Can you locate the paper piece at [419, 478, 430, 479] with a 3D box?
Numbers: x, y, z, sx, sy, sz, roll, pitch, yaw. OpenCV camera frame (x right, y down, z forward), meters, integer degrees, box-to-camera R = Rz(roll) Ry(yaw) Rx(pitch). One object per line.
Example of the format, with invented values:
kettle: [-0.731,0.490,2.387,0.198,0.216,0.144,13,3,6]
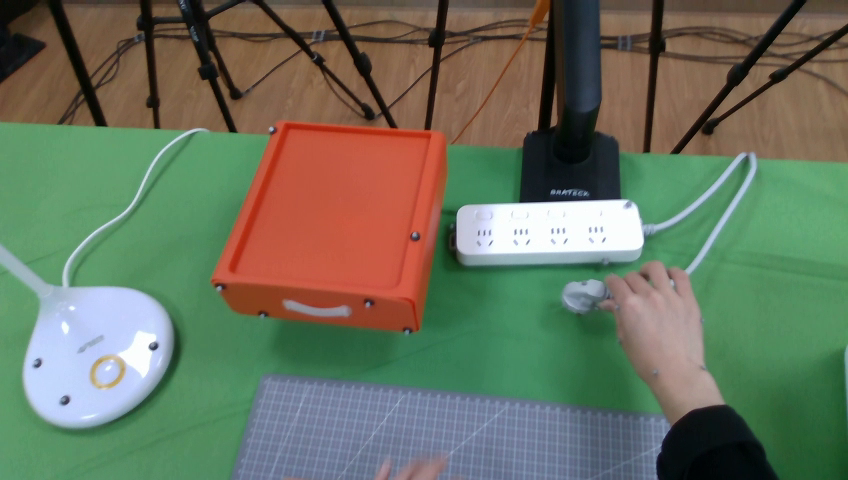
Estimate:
paper piece: [0.050,0.287,0.527,0.135,0.004,0.134,6,58,9]

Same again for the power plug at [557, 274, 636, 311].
power plug: [0.174,0.062,0.629,0.072,0.053,0.035,28,59,15]

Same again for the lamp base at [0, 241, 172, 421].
lamp base: [-0.372,0.070,0.602,0.177,0.182,0.160,34,65,26]

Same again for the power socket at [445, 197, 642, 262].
power socket: [0.137,-0.012,0.701,0.226,0.033,0.071,-1,58,4]

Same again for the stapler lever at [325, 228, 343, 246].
stapler lever: [-0.119,-0.010,0.630,0.117,0.040,0.027,32,82,27]

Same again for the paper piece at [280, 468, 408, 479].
paper piece: [-0.080,0.281,0.544,0.136,0.009,0.137,2,59,10]

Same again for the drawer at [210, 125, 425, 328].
drawer: [-0.092,-0.020,0.644,0.194,0.074,0.210,5,57,9]

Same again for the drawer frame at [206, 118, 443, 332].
drawer frame: [-0.094,-0.023,0.646,0.201,0.083,0.212,5,57,8]

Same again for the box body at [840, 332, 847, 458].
box body: [0.484,0.213,0.450,0.253,0.162,0.361,11,59,12]

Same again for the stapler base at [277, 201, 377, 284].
stapler base: [-0.109,-0.001,0.654,0.129,0.024,0.041,32,82,25]
